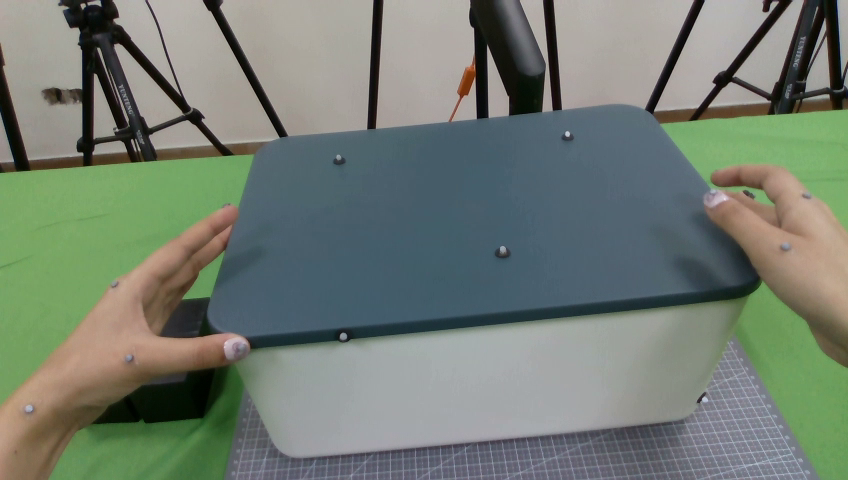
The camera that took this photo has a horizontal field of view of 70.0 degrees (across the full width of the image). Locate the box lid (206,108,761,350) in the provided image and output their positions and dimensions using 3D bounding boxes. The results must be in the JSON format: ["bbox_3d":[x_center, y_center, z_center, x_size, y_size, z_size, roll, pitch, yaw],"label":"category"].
[{"bbox_3d":[0.031,-0.028,0.480,0.372,0.015,0.260,-6,38,-1],"label":"box lid"}]

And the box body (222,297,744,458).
[{"bbox_3d":[0.038,0.031,0.527,0.364,0.162,0.251,-5,39,-2],"label":"box body"}]
